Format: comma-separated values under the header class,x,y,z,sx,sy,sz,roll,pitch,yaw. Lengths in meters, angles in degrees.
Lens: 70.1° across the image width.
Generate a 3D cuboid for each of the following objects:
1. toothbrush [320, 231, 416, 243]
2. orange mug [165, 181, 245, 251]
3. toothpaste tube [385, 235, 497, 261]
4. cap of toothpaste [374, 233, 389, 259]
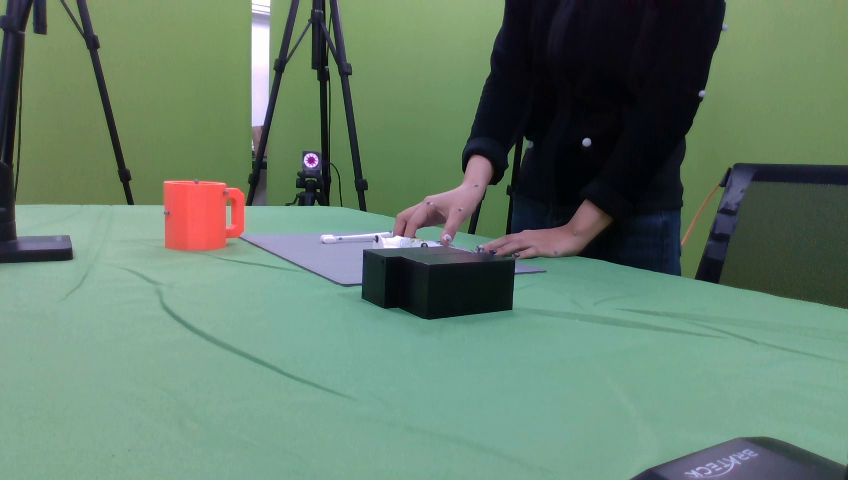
class,x,y,z,sx,sy,sz,roll,pitch,yaw
toothbrush,-0.089,-0.006,1.025,0.183,0.014,0.016,-3,12,-34
orange mug,-0.326,-0.040,0.911,0.083,0.101,0.127,8,14,37
toothpaste tube,0.019,0.014,0.852,0.166,0.034,0.055,4,13,-20
cap of toothpaste,-0.058,0.008,0.825,0.011,0.037,0.037,-4,9,-29
